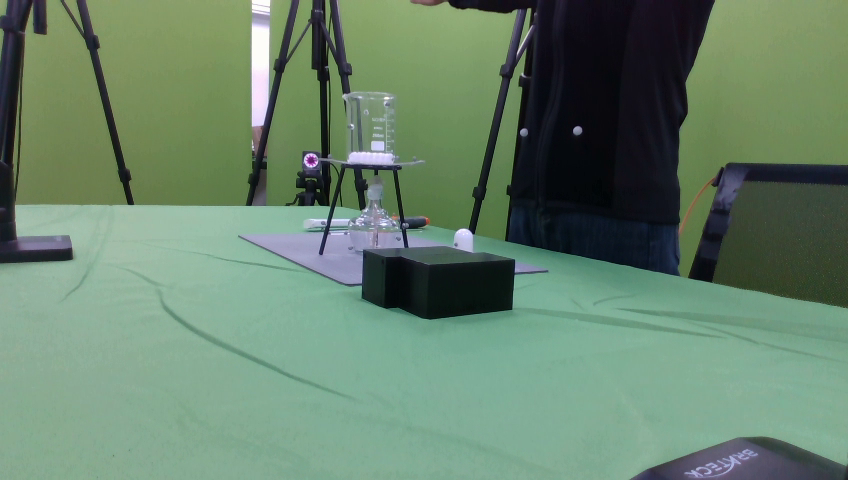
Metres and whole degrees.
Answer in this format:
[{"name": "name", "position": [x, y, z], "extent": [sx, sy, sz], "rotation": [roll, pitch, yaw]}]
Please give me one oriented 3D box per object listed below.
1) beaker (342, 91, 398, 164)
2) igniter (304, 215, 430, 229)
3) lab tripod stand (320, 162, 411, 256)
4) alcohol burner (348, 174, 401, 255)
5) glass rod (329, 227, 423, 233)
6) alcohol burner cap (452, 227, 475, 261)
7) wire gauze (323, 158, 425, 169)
[{"name": "beaker", "position": [-0.079, -0.160, 0.867], "extent": [0.084, 0.100, 0.073], "rotation": [-5, 10, -34]}, {"name": "igniter", "position": [-0.109, -0.037, 1.228], "extent": [0.278, 0.025, 0.057], "rotation": [-3, -1, -35]}, {"name": "lab tripod stand", "position": [-0.080, -0.047, 0.879], "extent": [0.148, 0.131, 0.148], "rotation": [2, 9, 0]}, {"name": "alcohol burner", "position": [-0.073, -0.037, 0.885], "extent": [0.078, 0.119, 0.078], "rotation": [2, 9, 0]}, {"name": "glass rod", "position": [-0.087, -0.019, 1.148], "extent": [0.201, 0.008, 0.008], "rotation": [-3, 8, -32]}, {"name": "alcohol burner cap", "position": [0.057, 0.005, 0.872], "extent": [0.034, 0.048, 0.034], "rotation": [2, 7, 0]}, {"name": "wire gauze", "position": [-0.080, -0.112, 0.869], "extent": [0.122, 0.011, 0.124], "rotation": [-6, 12, -35]}]
